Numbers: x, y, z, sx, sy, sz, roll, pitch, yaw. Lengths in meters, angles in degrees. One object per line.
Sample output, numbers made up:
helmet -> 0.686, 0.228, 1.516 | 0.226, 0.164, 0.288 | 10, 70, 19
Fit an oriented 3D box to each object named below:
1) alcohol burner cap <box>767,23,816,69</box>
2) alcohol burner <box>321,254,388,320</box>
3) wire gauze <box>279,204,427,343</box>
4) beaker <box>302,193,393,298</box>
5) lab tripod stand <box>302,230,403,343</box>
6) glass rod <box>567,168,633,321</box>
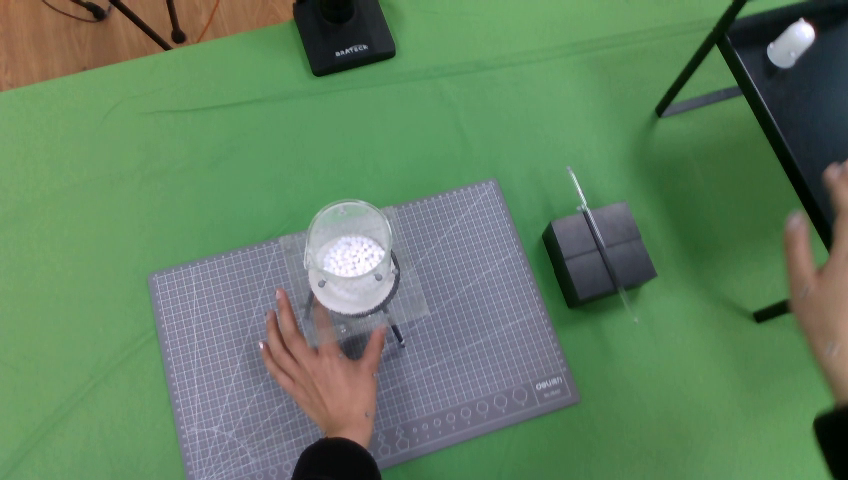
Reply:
alcohol burner cap -> 0.392, -0.209, 0.643 | 0.034, 0.048, 0.033 | 1, 71, -3
alcohol burner -> -0.079, 0.049, 0.684 | 0.078, 0.119, 0.077 | 1, 73, -4
wire gauze -> -0.073, 0.032, 0.609 | 0.125, 0.011, 0.120 | -14, 74, -10
beaker -> -0.070, 0.013, 0.565 | 0.084, 0.101, 0.073 | -32, 76, -12
lab tripod stand -> -0.074, 0.048, 0.674 | 0.148, 0.132, 0.147 | 1, 70, -1
glass rod -> 0.209, 0.002, 0.723 | 0.008, 0.008, 0.198 | -16, 74, -8
